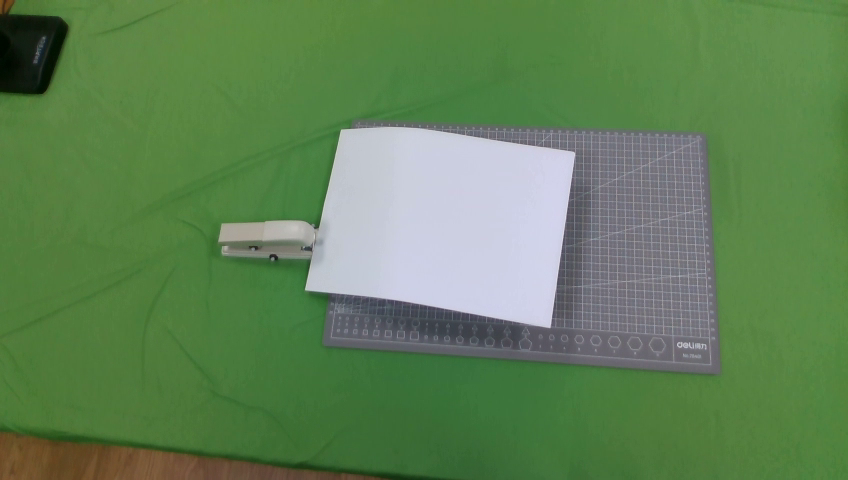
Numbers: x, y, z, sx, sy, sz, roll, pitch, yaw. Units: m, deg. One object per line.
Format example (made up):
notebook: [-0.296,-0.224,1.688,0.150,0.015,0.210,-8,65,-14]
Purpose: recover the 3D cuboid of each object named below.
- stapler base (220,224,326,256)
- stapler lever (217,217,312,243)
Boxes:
stapler base: [-0.188,-0.005,0.742,0.130,0.024,0.041,2,73,5]
stapler lever: [-0.191,-0.011,0.718,0.118,0.040,0.026,2,73,4]
